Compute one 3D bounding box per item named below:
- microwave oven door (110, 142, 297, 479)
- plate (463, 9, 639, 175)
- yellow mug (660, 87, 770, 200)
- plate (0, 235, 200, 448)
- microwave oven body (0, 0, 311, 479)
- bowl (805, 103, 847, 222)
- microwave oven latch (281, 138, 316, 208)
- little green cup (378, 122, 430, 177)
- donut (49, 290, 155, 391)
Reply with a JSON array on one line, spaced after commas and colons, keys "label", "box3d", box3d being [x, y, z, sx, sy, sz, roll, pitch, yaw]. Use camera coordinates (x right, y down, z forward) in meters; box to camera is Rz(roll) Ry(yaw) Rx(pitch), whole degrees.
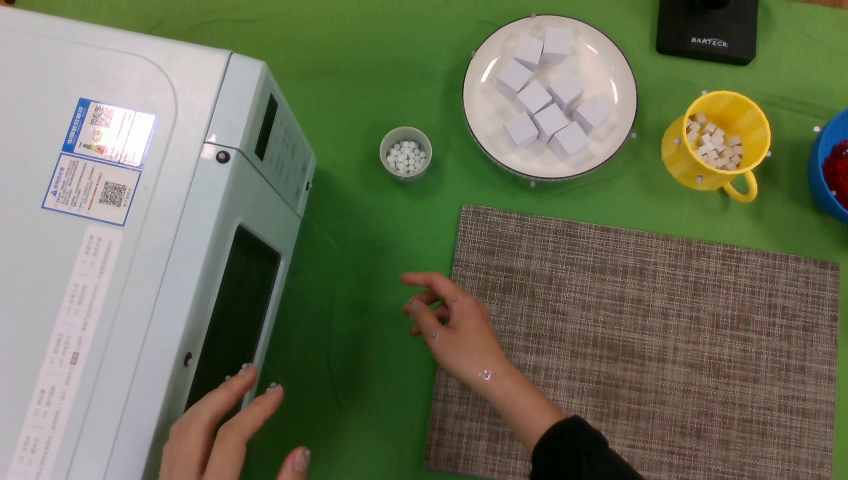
[{"label": "microwave oven door", "box3d": [-0.197, 0.114, 0.555, 0.039, 0.244, 0.354, 12, 80, 2]}, {"label": "plate", "box3d": [0.150, -0.174, 0.729, 0.208, 0.039, 0.207, 0, 80, 0]}, {"label": "yellow mug", "box3d": [0.344, -0.105, 0.704, 0.100, 0.064, 0.130, -27, 82, -5]}, {"label": "plate", "box3d": [-0.328, 0.101, 0.615, 0.209, 0.038, 0.208, 0, 81, 0]}, {"label": "microwave oven body", "box3d": [-0.330, 0.043, 0.571, 0.326, 0.261, 0.440, 12, 81, 1]}, {"label": "bowl", "box3d": [0.501, -0.079, 0.695, 0.151, 0.077, 0.151, 0, 80, 0]}, {"label": "microwave oven latch", "box3d": [-0.147, -0.078, 0.691, 0.030, 0.029, 0.079, 16, 81, 2]}, {"label": "little green cup", "box3d": [-0.022, -0.104, 0.714, 0.061, 0.039, 0.061, 0, 81, 0]}, {"label": "donut", "box3d": [-0.318, 0.099, 0.601, 0.099, 0.048, 0.099, 0, 83, -3]}]
